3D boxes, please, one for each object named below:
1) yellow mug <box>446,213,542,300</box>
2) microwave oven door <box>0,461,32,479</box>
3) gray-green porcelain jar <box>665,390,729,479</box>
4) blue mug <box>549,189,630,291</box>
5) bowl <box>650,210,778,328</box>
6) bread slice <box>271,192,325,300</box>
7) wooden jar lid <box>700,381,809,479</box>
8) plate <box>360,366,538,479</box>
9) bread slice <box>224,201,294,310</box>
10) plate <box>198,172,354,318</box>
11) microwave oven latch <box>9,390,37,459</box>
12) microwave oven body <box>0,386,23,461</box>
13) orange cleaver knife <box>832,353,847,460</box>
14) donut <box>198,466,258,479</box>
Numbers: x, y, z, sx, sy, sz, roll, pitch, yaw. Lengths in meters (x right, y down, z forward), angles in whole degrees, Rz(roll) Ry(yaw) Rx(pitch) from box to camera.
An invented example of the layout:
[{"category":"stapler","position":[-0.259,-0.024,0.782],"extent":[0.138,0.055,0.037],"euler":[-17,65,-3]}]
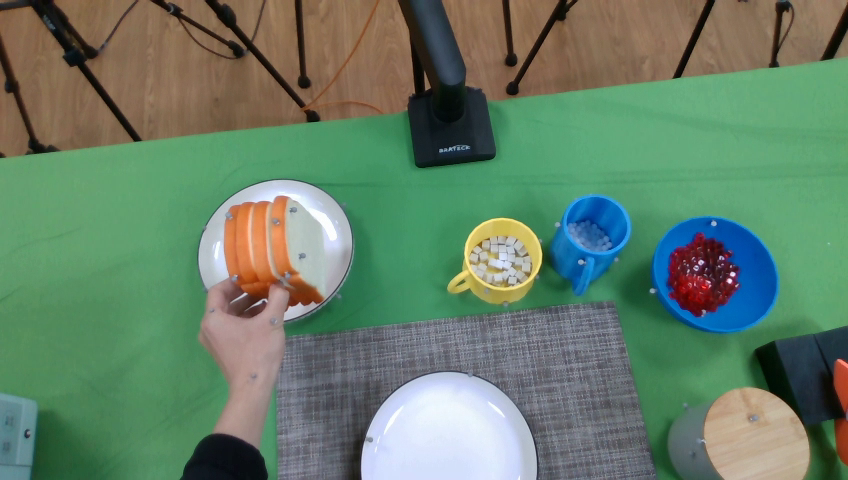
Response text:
[{"category":"yellow mug","position":[0.087,0.030,0.792],"extent":[0.131,0.064,0.099],"euler":[-28,70,-8]},{"category":"microwave oven door","position":[-0.469,0.387,0.555],"extent":[0.039,0.245,0.353],"euler":[-7,69,-1]},{"category":"gray-green porcelain jar","position":[0.339,0.224,0.680],"extent":[0.106,0.127,0.105],"euler":[0,69,1]},{"category":"blue mug","position":[0.207,0.008,0.777],"extent":[0.082,0.106,0.116],"euler":[12,70,6]},{"category":"bowl","position":[0.356,0.046,0.774],"extent":[0.151,0.077,0.150],"euler":[-1,69,2]},{"category":"bread slice","position":[-0.144,0.005,0.705],"extent":[0.019,0.132,0.104],"euler":[-10,70,7]},{"category":"wooden jar lid","position":[0.336,0.200,0.622],"extent":[0.108,0.021,0.107],"euler":[0,70,-1]},{"category":"plate","position":[0.030,0.256,0.719],"extent":[0.209,0.038,0.207],"euler":[0,69,1]},{"category":"bread slice","position":[-0.191,0.013,0.716],"extent":[0.018,0.135,0.106],"euler":[-11,64,14]},{"category":"plate","position":[-0.197,0.008,0.823],"extent":[0.208,0.039,0.206],"euler":[0,70,1]},{"category":"microwave oven latch","position":[-0.489,0.221,0.727],"extent":[0.030,0.030,0.078],"euler":[-4,70,0]},{"category":"microwave oven body","position":[-0.619,0.366,0.572],"extent":[0.326,0.262,0.438],"euler":[-6,70,-1]},{"category":"orange cleaver knife","position":[0.498,0.236,0.694],"extent":[0.012,0.077,0.211],"euler":[-10,97,-2]},{"category":"donut","position":[-0.230,0.314,0.704],"extent":[0.099,0.048,0.098],"euler":[1,69,-1]}]
